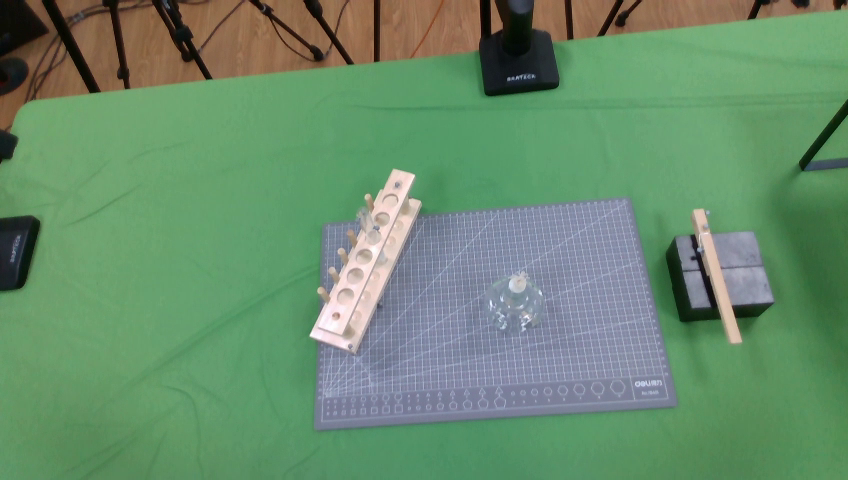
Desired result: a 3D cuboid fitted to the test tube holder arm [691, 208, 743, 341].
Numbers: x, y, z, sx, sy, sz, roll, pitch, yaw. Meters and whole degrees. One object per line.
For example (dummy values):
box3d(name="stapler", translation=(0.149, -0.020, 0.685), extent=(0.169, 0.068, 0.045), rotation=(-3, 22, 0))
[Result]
box3d(name="test tube holder arm", translation=(0.358, 0.038, 0.744), extent=(0.015, 0.013, 0.177), rotation=(-10, 59, 13))

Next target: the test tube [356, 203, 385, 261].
box3d(name="test tube", translation=(-0.067, -0.007, 0.773), extent=(0.017, 0.151, 0.017), rotation=(-2, 66, 4))

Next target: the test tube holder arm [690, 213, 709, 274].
box3d(name="test tube holder arm", translation=(0.357, 0.002, 0.771), extent=(0.015, 0.010, 0.087), rotation=(-10, 59, 13))

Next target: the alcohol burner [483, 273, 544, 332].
box3d(name="alcohol burner", translation=(0.112, 0.071, 0.757), extent=(0.078, 0.120, 0.077), rotation=(-2, 63, 3))

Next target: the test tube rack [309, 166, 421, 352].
box3d(name="test tube rack", translation=(-0.083, 0.019, 0.818), extent=(0.066, 0.086, 0.241), rotation=(17, 67, 14))
